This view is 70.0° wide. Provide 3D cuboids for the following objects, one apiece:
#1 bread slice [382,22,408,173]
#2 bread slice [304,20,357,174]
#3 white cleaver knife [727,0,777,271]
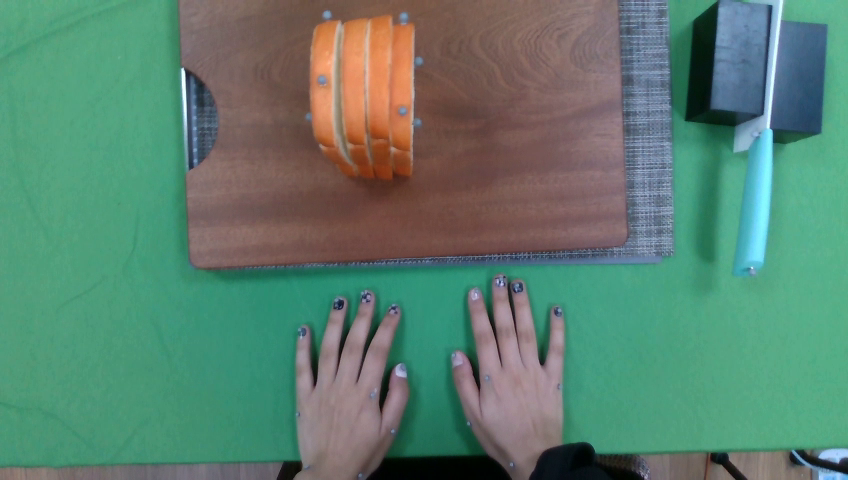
[{"bbox_3d":[-0.023,-0.111,0.486,0.018,0.134,0.107,-1,93,-2],"label":"bread slice"},{"bbox_3d":[-0.073,-0.115,0.486,0.019,0.131,0.105,-1,88,3],"label":"bread slice"},{"bbox_3d":[0.303,-0.113,0.563,0.021,0.066,0.286,6,91,4],"label":"white cleaver knife"}]
